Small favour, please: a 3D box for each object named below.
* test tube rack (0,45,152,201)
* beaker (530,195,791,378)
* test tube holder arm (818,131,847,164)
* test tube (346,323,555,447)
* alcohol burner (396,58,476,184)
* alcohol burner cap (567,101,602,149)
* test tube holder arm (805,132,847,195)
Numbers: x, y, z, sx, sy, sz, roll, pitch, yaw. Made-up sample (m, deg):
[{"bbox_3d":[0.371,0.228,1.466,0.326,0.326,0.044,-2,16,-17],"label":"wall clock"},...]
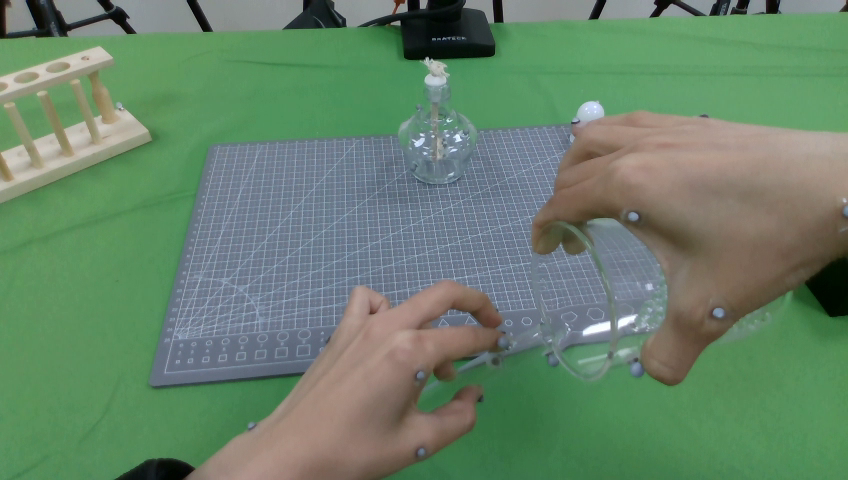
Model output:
[{"bbox_3d":[-0.402,-0.098,0.577,0.242,0.086,0.066,-33,53,-29],"label":"test tube rack"},{"bbox_3d":[0.111,0.020,0.292,0.100,0.084,0.073,-10,59,-14],"label":"beaker"},{"bbox_3d":[0.369,-0.035,0.501,0.013,0.015,0.176,-7,44,4],"label":"test tube holder arm"},{"bbox_3d":[0.009,0.086,0.345,0.150,0.017,0.017,-34,36,27],"label":"test tube"},{"bbox_3d":[0.011,-0.114,0.574,0.078,0.120,0.077,-1,43,1],"label":"alcohol burner"},{"bbox_3d":[0.170,-0.124,0.638,0.034,0.048,0.033,0,44,0],"label":"alcohol burner cap"},{"bbox_3d":[0.362,-0.066,0.534,0.010,0.015,0.087,-7,44,4],"label":"test tube holder arm"}]
